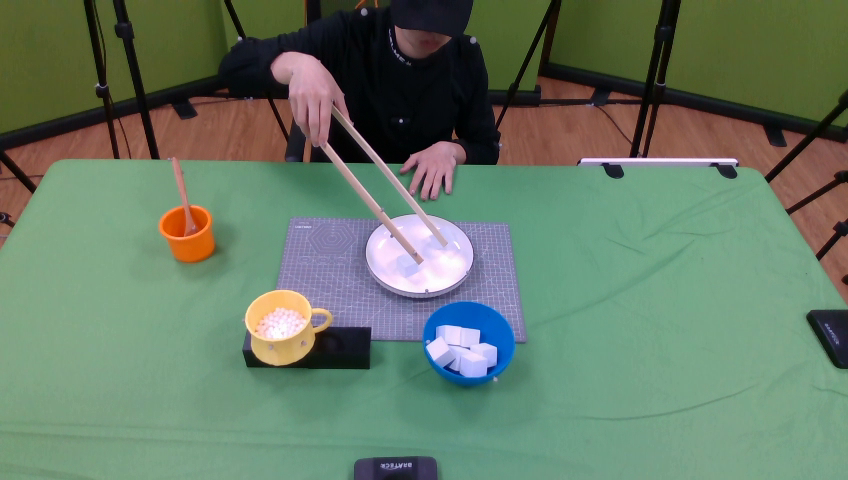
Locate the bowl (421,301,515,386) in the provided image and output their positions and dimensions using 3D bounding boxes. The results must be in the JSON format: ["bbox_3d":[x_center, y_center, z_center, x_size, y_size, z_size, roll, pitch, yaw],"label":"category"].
[{"bbox_3d":[0.069,0.182,0.990,0.151,0.077,0.150,3,46,-2],"label":"bowl"}]

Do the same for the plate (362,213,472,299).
[{"bbox_3d":[-0.014,0.034,1.150,0.208,0.039,0.206,2,46,-2],"label":"plate"}]

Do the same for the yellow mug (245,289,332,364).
[{"bbox_3d":[-0.210,0.133,0.954,0.131,0.064,0.099,-9,48,-14],"label":"yellow mug"}]

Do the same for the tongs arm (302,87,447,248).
[{"bbox_3d":[-0.090,-0.135,1.107,0.028,0.028,0.387,-39,86,-25],"label":"tongs arm"}]

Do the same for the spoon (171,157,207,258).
[{"bbox_3d":[-0.444,-0.061,1.133,0.042,0.194,0.021,-12,4,-18],"label":"spoon"}]

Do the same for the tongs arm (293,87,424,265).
[{"bbox_3d":[-0.116,-0.116,1.089,0.051,0.026,0.384,-39,86,-29],"label":"tongs arm"}]
